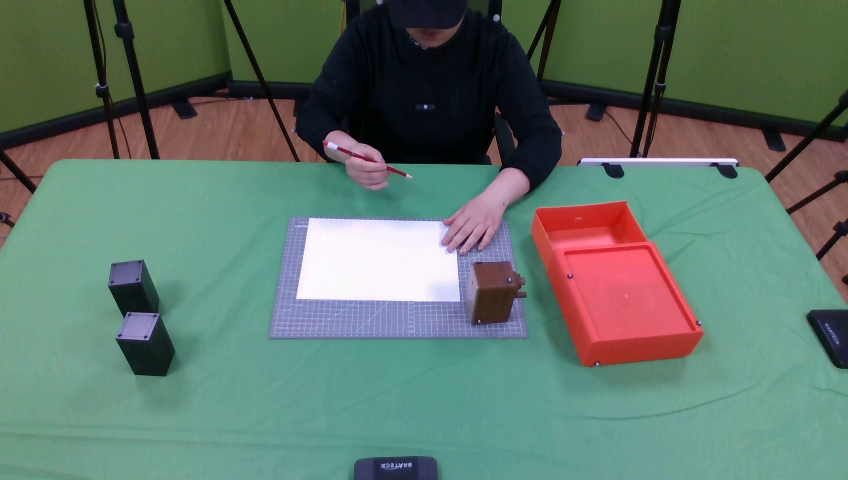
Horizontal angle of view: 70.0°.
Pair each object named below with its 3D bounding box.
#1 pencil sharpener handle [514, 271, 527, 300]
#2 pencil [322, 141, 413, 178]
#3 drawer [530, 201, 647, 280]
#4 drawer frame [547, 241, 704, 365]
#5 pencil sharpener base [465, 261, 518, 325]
[{"bbox_3d":[0.168,0.081,1.051,0.031,0.068,0.035,-3,49,-7],"label":"pencil sharpener handle"},{"bbox_3d":[-0.111,-0.157,1.199,0.194,0.012,0.012,21,47,0],"label":"pencil"},{"bbox_3d":[0.328,0.024,1.159,0.195,0.073,0.210,-5,46,-9],"label":"drawer"},{"bbox_3d":[0.348,0.106,1.077,0.202,0.083,0.212,-4,47,-9],"label":"drawer frame"},{"bbox_3d":[0.117,0.092,1.052,0.077,0.107,0.061,-3,46,-7],"label":"pencil sharpener base"}]
